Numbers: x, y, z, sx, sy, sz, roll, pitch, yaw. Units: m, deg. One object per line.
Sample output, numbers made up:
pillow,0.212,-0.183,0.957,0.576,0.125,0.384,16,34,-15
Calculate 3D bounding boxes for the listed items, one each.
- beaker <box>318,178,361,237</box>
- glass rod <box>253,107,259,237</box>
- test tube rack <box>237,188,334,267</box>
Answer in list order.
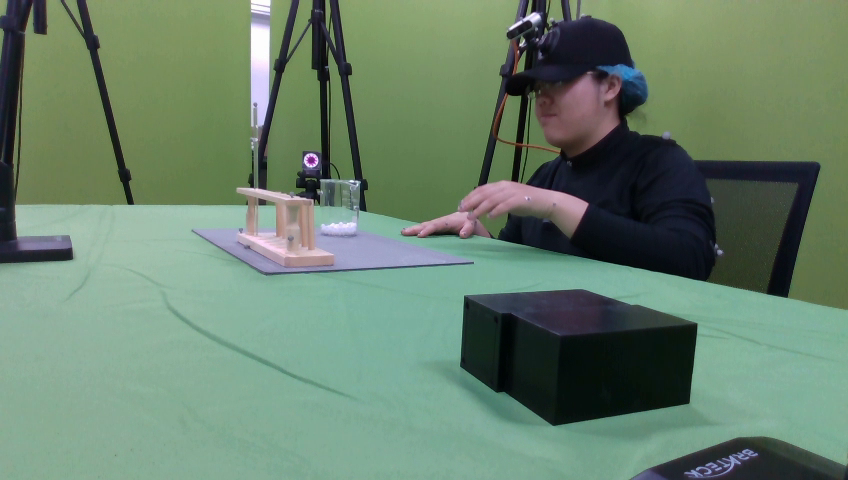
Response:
beaker,-0.150,-0.059,1.087,0.083,0.100,0.074,10,11,40
glass rod,-0.253,-0.101,0.912,0.008,0.199,0.008,1,4,0
test tube rack,-0.202,-0.024,0.855,0.067,0.085,0.241,-2,8,-30
